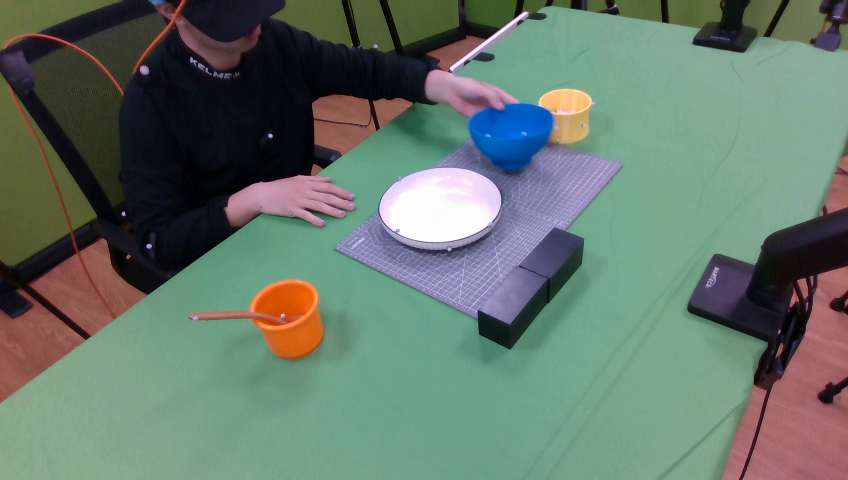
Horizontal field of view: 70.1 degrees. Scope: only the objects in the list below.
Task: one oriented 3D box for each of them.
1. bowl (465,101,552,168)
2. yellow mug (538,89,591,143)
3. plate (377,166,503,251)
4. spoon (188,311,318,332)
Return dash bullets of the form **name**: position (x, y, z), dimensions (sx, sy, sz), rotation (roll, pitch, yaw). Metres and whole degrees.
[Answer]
- **bowl**: position (0.150, -0.180, 1.071), dimensions (0.151, 0.077, 0.150), rotation (-5, 35, 4)
- **yellow mug**: position (0.257, -0.239, 1.178), dimensions (0.131, 0.064, 0.099), rotation (-6, 41, 3)
- **plate**: position (0.027, -0.050, 1.007), dimensions (0.209, 0.038, 0.208), rotation (-4, 41, 4)
- **spoon**: position (-0.216, 0.102, 0.784), dimensions (0.041, 0.195, 0.021), rotation (26, 95, 39)
